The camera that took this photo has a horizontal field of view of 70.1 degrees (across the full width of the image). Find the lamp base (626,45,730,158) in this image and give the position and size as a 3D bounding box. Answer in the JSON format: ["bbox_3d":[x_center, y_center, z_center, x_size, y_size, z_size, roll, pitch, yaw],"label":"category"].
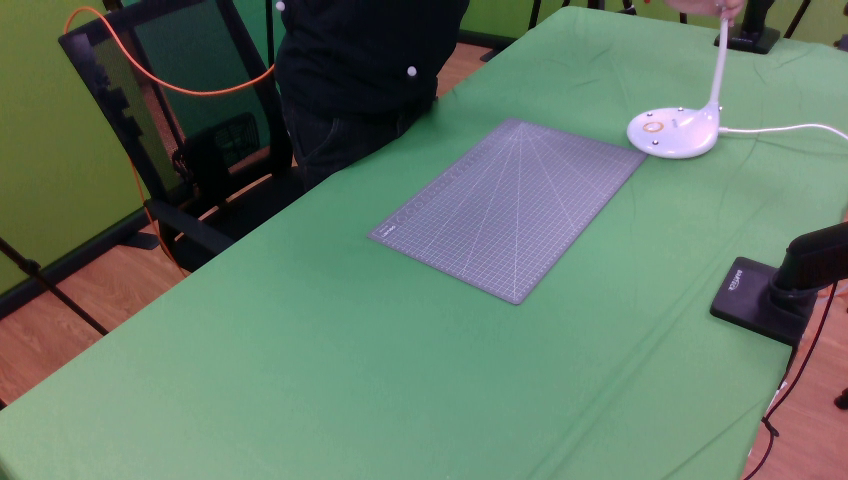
[{"bbox_3d":[0.468,-0.262,1.085,0.179,0.181,0.159,-4,41,0],"label":"lamp base"}]
